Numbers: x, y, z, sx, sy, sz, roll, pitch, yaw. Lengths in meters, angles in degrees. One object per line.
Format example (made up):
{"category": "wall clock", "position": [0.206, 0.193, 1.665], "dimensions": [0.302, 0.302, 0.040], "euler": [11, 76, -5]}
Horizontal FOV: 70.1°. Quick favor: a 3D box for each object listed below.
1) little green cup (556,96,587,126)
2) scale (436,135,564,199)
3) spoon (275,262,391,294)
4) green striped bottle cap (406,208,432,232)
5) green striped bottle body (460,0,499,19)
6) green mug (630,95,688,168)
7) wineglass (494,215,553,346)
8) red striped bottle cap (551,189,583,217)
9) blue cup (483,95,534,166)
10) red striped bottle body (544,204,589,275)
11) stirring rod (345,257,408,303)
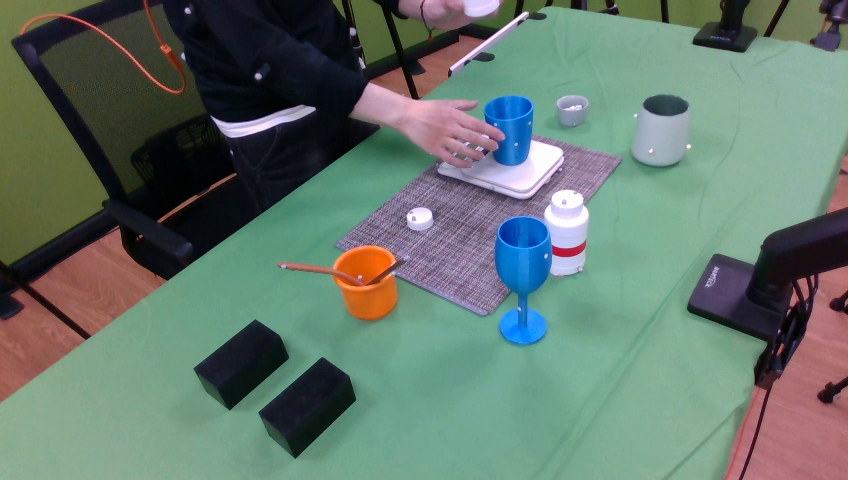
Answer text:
{"category": "little green cup", "position": [0.295, -0.258, 1.214], "dimensions": [0.061, 0.039, 0.061], "euler": [-4, 42, 4]}
{"category": "scale", "position": [0.137, -0.142, 1.101], "dimensions": [0.199, 0.032, 0.149], "euler": [22, 48, 30]}
{"category": "spoon", "position": [-0.120, 0.050, 0.830], "dimensions": [0.041, 0.195, 0.021], "euler": [31, 96, 45]}
{"category": "green striped bottle cap", "position": [-0.009, -0.034, 1.011], "dimensions": [0.044, 0.020, 0.044], "euler": [-1, 41, 1]}
{"category": "green striped bottle body", "position": [0.082, -0.432, 0.990], "dimensions": [0.063, 0.120, 0.063], "euler": [-10, 45, 11]}
{"category": "green mug", "position": [0.421, -0.201, 1.081], "dimensions": [0.092, 0.105, 0.125], "euler": [5, 42, 15]}
{"category": "wineglass", "position": [0.127, 0.055, 0.770], "dimensions": [0.074, 0.173, 0.073], "euler": [-4, 40, 4]}
{"category": "red striped bottle cap", "position": [0.199, -0.052, 0.843], "dimensions": [0.044, 0.018, 0.044], "euler": [-2, 42, 2]}
{"category": "blue cup", "position": [0.149, -0.186, 1.050], "dimensions": [0.092, 0.101, 0.092], "euler": [-6, 40, 6]}
{"category": "red striped bottle body", "position": [0.206, -0.011, 0.877], "dimensions": [0.063, 0.120, 0.062], "euler": [-5, 41, 4]}
{"category": "stirring rod", "position": [-0.067, 0.056, 0.815], "dimensions": [0.014, 0.175, 0.006], "euler": [-22, 81, -37]}
